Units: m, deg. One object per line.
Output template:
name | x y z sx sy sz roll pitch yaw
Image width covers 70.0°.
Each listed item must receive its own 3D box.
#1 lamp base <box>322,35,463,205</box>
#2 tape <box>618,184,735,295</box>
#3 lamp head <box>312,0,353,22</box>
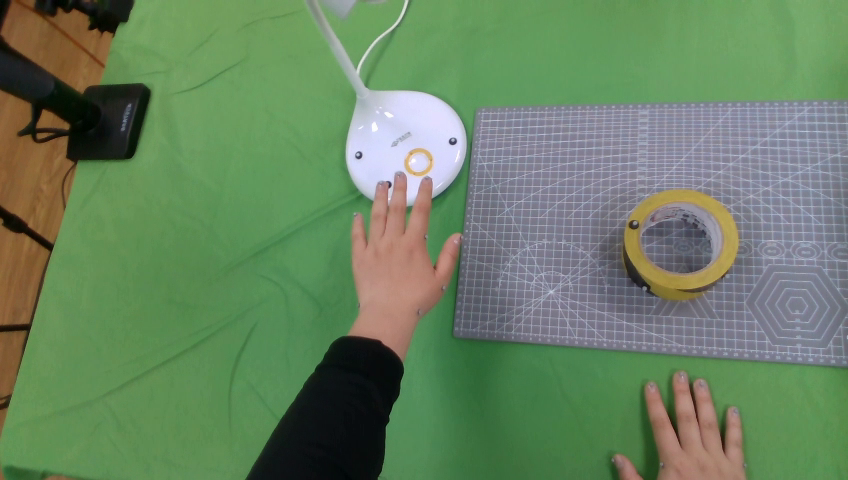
lamp base | -0.055 -0.151 0.713 0.160 0.182 0.177 -46 65 -3
tape | 0.268 0.000 0.650 0.116 0.053 0.116 -4 72 12
lamp head | -0.077 -0.234 0.426 0.123 0.112 0.112 33 82 -13
